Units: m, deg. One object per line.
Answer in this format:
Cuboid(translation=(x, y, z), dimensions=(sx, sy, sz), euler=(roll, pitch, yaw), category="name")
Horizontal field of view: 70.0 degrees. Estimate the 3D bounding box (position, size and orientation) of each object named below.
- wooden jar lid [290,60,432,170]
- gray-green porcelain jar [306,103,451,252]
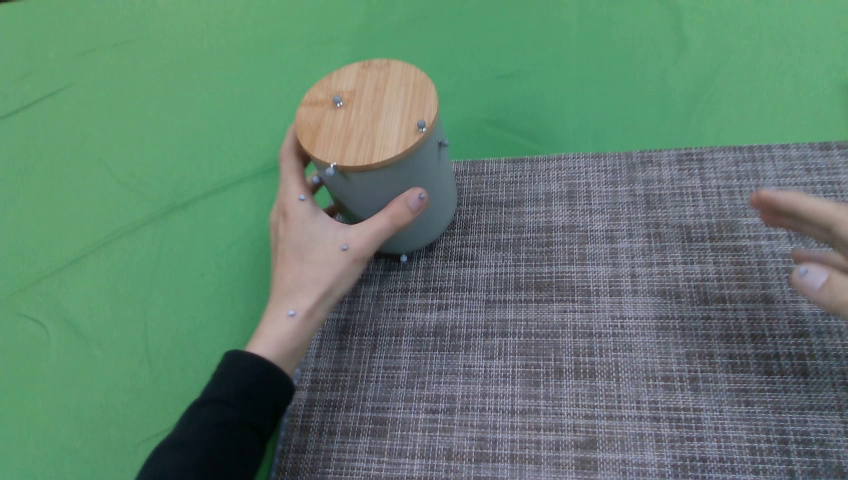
Cuboid(translation=(-0.046, -0.092, 0.454), dimensions=(0.108, 0.021, 0.107), euler=(-4, 58, 7), category="wooden jar lid")
Cuboid(translation=(-0.034, -0.059, 0.504), dimensions=(0.106, 0.128, 0.105), euler=(-6, 55, 8), category="gray-green porcelain jar")
